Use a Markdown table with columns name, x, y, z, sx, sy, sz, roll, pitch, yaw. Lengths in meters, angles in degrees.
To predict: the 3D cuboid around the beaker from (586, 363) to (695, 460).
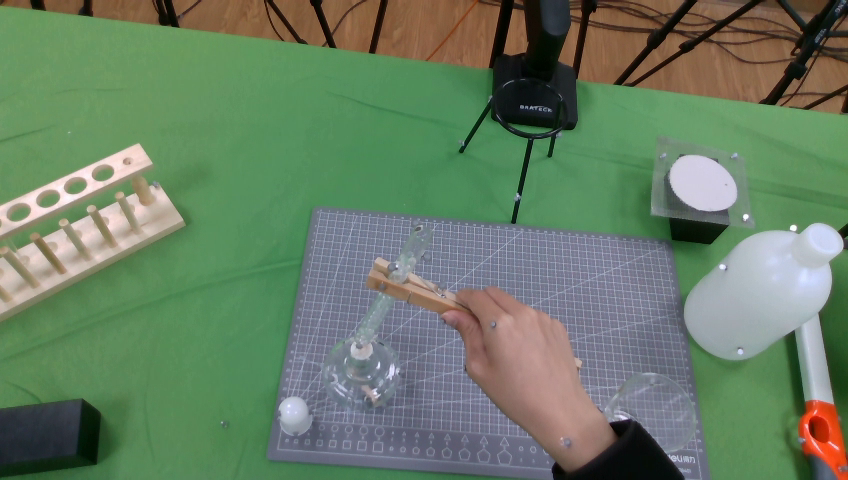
| name | x | y | z | sx | sy | sz | roll | pitch | yaw |
| --- | --- | --- | --- | --- | --- | --- | --- | --- | --- |
| beaker | 0.204 | 0.173 | 0.596 | 0.084 | 0.101 | 0.073 | 2 | 60 | -3 |

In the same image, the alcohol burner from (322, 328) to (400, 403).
| name | x | y | z | sx | sy | sz | roll | pitch | yaw |
| --- | --- | --- | --- | --- | --- | --- | --- | --- | --- |
| alcohol burner | -0.061 | 0.117 | 0.592 | 0.078 | 0.120 | 0.077 | 4 | 59 | -6 |

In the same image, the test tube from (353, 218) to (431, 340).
| name | x | y | z | sx | sy | sz | roll | pitch | yaw |
| --- | --- | --- | --- | --- | --- | --- | --- | --- | --- |
| test tube | -0.029 | 0.037 | 0.484 | 0.017 | 0.151 | 0.017 | 16 | 44 | -16 |

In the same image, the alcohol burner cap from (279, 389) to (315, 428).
| name | x | y | z | sx | sy | sz | roll | pitch | yaw |
| --- | --- | --- | --- | --- | --- | --- | --- | --- | --- |
| alcohol burner cap | -0.127 | 0.165 | 0.599 | 0.034 | 0.048 | 0.033 | 2 | 62 | -3 |

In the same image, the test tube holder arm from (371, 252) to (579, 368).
| name | x | y | z | sx | sy | sz | roll | pitch | yaw |
| --- | --- | --- | --- | --- | --- | --- | --- | --- | --- |
| test tube holder arm | 0.039 | 0.054 | 0.475 | 0.178 | 0.015 | 0.013 | 26 | 44 | 3 |

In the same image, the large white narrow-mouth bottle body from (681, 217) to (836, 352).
| name | x | y | z | sx | sy | sz | roll | pitch | yaw |
| --- | --- | --- | --- | --- | --- | --- | --- | --- | --- |
| large white narrow-mouth bottle body | 0.355 | 0.040 | 0.635 | 0.102 | 0.196 | 0.101 | 2 | 60 | -3 |

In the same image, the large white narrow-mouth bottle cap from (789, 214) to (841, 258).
| name | x | y | z | sx | sy | sz | roll | pitch | yaw |
| --- | --- | --- | --- | --- | --- | --- | --- | --- | --- |
| large white narrow-mouth bottle cap | 0.362 | -0.004 | 0.562 | 0.038 | 0.024 | 0.037 | 2 | 60 | -4 |

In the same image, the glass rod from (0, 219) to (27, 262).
| name | x | y | z | sx | sy | sz | roll | pitch | yaw |
| --- | --- | --- | --- | --- | --- | --- | --- | --- | --- |
| glass rod | -0.426 | -0.038 | 0.585 | 0.008 | 0.201 | 0.008 | 4 | 51 | -5 |

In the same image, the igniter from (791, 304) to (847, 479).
| name | x | y | z | sx | sy | sz | roll | pitch | yaw |
| --- | --- | --- | --- | --- | --- | --- | --- | --- | --- |
| igniter | 0.430 | 0.179 | 0.661 | 0.057 | 0.025 | 0.274 | 17 | 59 | -8 |

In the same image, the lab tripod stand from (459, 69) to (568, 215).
| name | x | y | z | sx | sy | sz | roll | pitch | yaw |
| --- | --- | --- | --- | --- | --- | --- | --- | --- | --- |
| lab tripod stand | 0.116 | -0.125 | 0.740 | 0.148 | 0.132 | 0.147 | 3 | 61 | -6 |

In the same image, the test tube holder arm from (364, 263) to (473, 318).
| name | x | y | z | sx | sy | sz | roll | pitch | yaw |
| --- | --- | --- | --- | --- | --- | --- | --- | --- | --- |
| test tube holder arm | -0.004 | 0.040 | 0.471 | 0.088 | 0.015 | 0.010 | 20 | 43 | -3 |

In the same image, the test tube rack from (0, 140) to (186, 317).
| name | x | y | z | sx | sy | sz | roll | pitch | yaw |
| --- | --- | --- | --- | --- | --- | --- | --- | --- | --- |
| test tube rack | -0.393 | -0.007 | 0.647 | 0.242 | 0.086 | 0.066 | -32 | 68 | -21 |

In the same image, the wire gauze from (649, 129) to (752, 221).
| name | x | y | z | sx | sy | sz | roll | pitch | yaw |
| --- | --- | --- | --- | --- | --- | --- | --- | --- | --- |
| wire gauze | 0.341 | -0.081 | 0.753 | 0.121 | 0.011 | 0.124 | 12 | 60 | 1 |
